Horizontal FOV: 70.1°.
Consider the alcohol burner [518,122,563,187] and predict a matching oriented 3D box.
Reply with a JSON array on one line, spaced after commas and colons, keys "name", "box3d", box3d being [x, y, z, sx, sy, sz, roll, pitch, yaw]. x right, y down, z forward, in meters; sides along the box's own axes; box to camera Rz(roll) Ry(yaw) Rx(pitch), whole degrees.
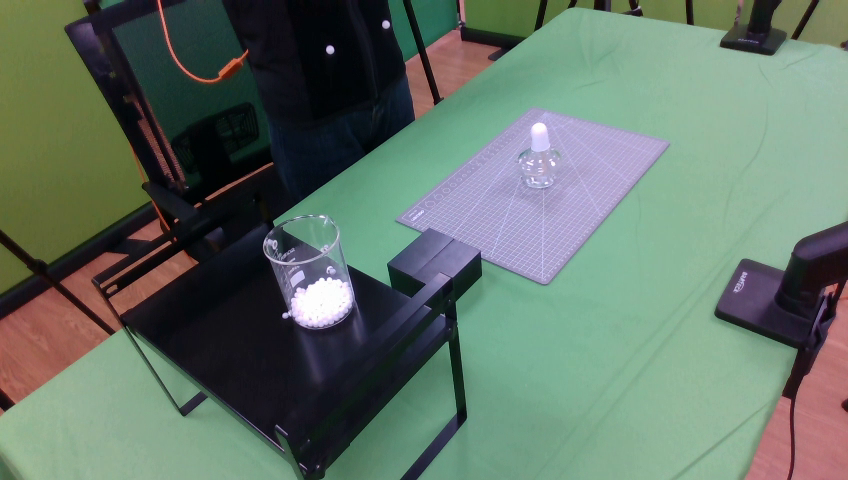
[{"name": "alcohol burner", "box3d": [0.201, -0.151, 1.046, 0.078, 0.119, 0.077, -6, 42, 5]}]

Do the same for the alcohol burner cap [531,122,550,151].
[{"name": "alcohol burner cap", "box3d": [0.196, -0.178, 1.024, 0.034, 0.048, 0.033, -8, 40, 7]}]

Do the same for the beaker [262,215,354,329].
[{"name": "beaker", "box3d": [-0.112, 0.034, 0.616, 0.073, 0.101, 0.084, 13, 44, 23]}]
